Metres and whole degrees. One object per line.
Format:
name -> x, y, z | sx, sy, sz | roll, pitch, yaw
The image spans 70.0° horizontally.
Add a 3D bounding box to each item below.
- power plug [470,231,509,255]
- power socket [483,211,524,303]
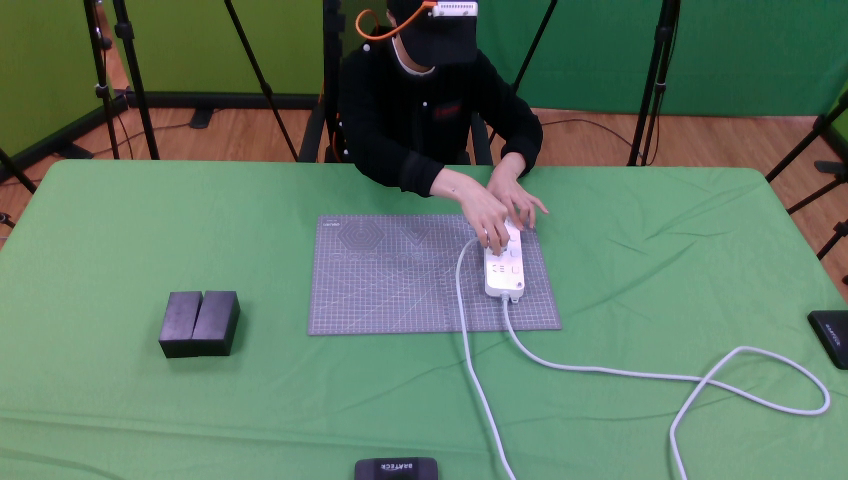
power plug -> 0.124, 0.006, 1.148 | 0.072, 0.053, 0.035 | 10, 39, 10
power socket -> 0.153, 0.024, 1.174 | 0.072, 0.033, 0.225 | 3, 46, 1
